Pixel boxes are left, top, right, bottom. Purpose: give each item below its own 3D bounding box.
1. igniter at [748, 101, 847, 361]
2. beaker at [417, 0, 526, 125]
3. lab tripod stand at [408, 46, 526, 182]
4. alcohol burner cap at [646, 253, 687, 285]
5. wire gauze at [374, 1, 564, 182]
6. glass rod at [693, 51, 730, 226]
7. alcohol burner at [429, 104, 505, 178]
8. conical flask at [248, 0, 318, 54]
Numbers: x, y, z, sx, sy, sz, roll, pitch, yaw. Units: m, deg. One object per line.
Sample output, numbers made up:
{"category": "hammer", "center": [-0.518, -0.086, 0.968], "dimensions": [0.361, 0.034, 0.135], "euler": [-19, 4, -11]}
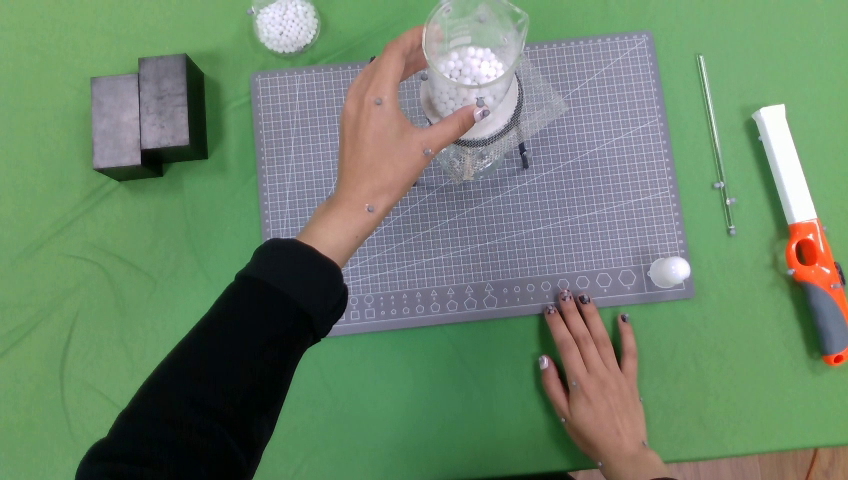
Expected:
{"category": "igniter", "center": [0.396, -0.012, 0.637], "dimensions": [0.057, 0.025, 0.275], "euler": [-11, 83, -11]}
{"category": "beaker", "center": [0.037, -0.141, 0.485], "dimensions": [0.084, 0.100, 0.074], "euler": [-26, 84, -2]}
{"category": "lab tripod stand", "center": [0.040, -0.117, 0.598], "dimensions": [0.148, 0.132, 0.148], "euler": [0, 84, 1]}
{"category": "alcohol burner cap", "center": [0.252, 0.028, 0.623], "dimensions": [0.034, 0.048, 0.033], "euler": [0, 82, 1]}
{"category": "wire gauze", "center": [0.039, -0.130, 0.533], "dimensions": [0.125, 0.011, 0.121], "euler": [-36, 85, -3]}
{"category": "glass rod", "center": [0.314, -0.113, 0.661], "dimensions": [0.008, 0.008, 0.199], "euler": [-7, 83, 0]}
{"category": "alcohol burner", "center": [0.044, -0.105, 0.607], "dimensions": [0.078, 0.119, 0.077], "euler": [0, 80, 0]}
{"category": "conical flask", "center": [-0.158, -0.251, 0.626], "dimensions": [0.075, 0.122, 0.075], "euler": [0, 82, 1]}
